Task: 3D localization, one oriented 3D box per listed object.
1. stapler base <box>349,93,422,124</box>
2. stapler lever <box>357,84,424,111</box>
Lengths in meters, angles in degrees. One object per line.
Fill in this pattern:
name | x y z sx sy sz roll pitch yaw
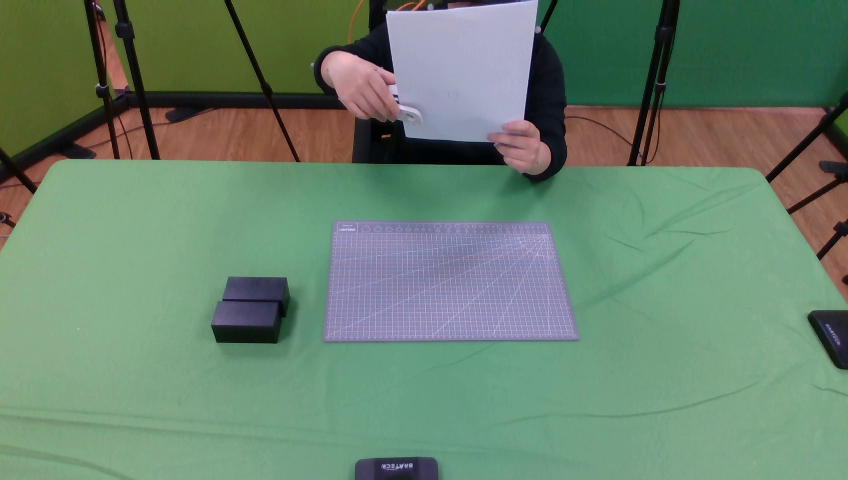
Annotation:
stapler base | -0.062 -0.228 1.032 0.130 0.041 0.024 17 82 18
stapler lever | -0.055 -0.251 1.034 0.118 0.027 0.040 19 83 19
